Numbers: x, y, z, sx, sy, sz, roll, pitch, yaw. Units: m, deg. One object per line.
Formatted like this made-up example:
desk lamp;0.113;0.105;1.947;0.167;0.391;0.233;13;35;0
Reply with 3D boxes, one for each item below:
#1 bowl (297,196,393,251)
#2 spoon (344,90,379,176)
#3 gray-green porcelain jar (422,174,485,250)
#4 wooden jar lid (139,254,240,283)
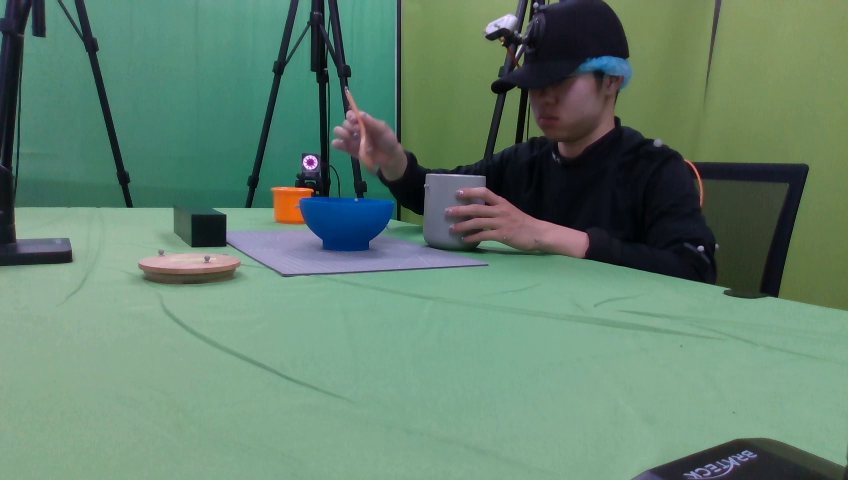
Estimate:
bowl;-0.125;-0.026;0.957;0.151;0.077;0.151;2;7;0
spoon;-0.107;-0.183;1.016;0.021;0.193;0.042;-22;-31;10
gray-green porcelain jar;0.050;-0.050;1.040;0.106;0.126;0.106;2;7;0
wooden jar lid;-0.269;0.032;0.697;0.108;0.020;0.108;2;5;0
